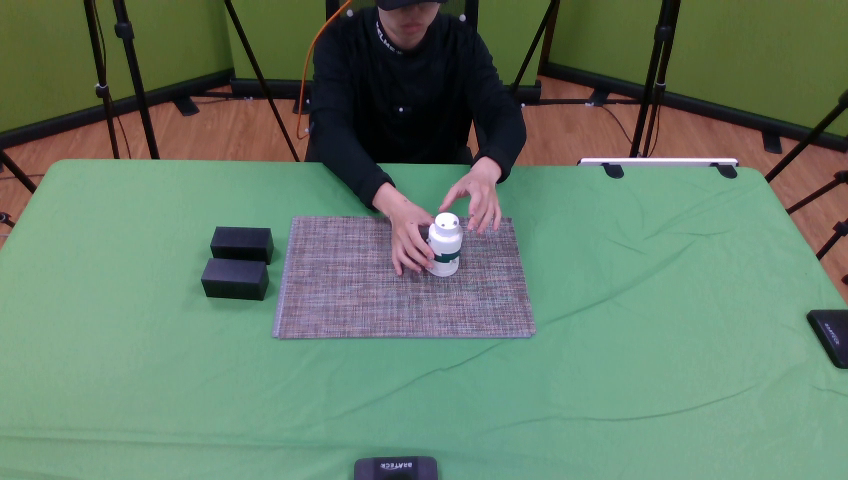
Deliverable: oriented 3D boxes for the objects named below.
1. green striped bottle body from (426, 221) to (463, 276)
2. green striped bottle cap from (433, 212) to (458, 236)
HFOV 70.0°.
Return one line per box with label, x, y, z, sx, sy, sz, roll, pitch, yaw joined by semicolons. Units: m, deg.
green striped bottle body;0.037;0.007;1.121;0.063;0.120;0.063;2;47;-2
green striped bottle cap;0.039;-0.029;1.084;0.044;0.020;0.044;4;44;-3
